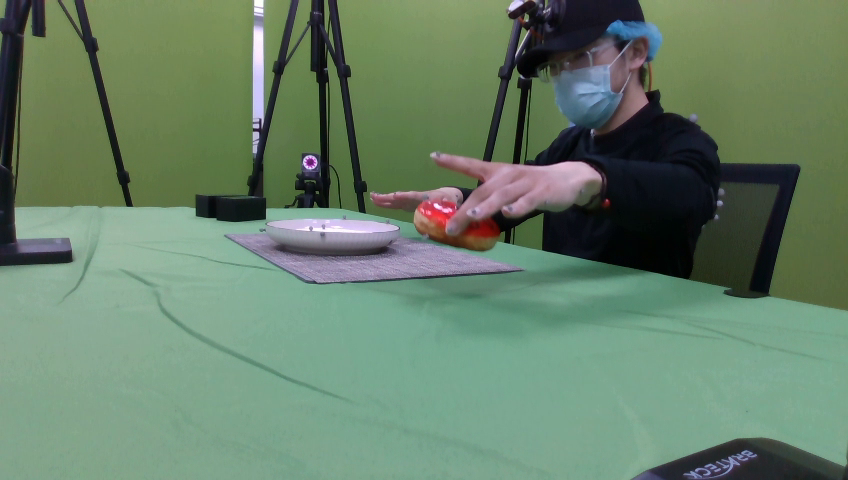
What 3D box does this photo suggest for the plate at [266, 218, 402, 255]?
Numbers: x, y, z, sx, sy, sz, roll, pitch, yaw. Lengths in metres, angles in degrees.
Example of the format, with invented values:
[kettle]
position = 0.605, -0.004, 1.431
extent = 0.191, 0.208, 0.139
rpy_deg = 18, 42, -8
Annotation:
[plate]
position = -0.138, -0.006, 0.940
extent = 0.208, 0.039, 0.207
rpy_deg = 2, 7, 0

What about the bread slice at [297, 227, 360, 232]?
[bread slice]
position = -0.142, -0.005, 0.939
extent = 0.131, 0.019, 0.105
rpy_deg = 8, 8, 33

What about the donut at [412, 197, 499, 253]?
[donut]
position = 0.035, -0.017, 0.663
extent = 0.099, 0.048, 0.099
rpy_deg = 17, 11, -3
